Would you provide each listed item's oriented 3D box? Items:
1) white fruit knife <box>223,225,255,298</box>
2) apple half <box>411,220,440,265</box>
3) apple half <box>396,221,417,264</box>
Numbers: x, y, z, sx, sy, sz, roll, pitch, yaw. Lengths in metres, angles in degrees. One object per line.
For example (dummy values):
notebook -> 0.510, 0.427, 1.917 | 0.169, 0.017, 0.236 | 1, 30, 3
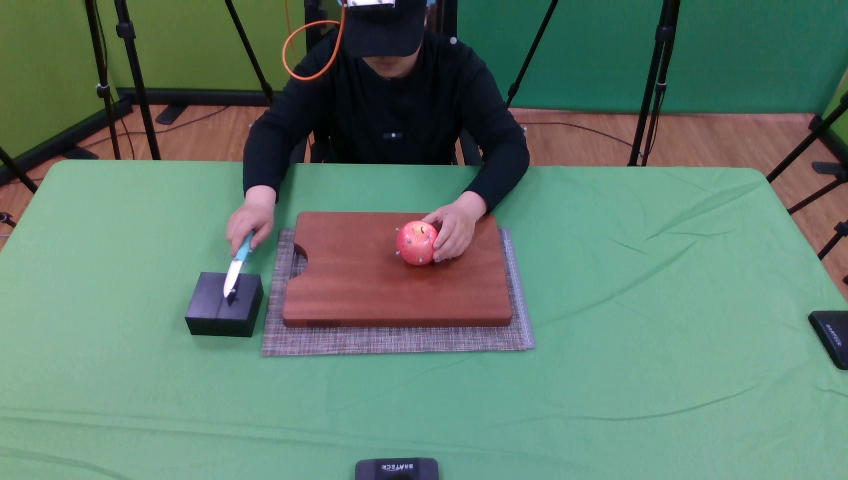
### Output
white fruit knife -> -0.332, 0.035, 1.088 | 0.027, 0.016, 0.206 | -12, 37, 7
apple half -> 0.002, 0.006, 1.118 | 0.053, 0.075, 0.080 | -3, 42, -13
apple half -> -0.036, 0.009, 1.111 | 0.033, 0.081, 0.080 | -3, 46, -13
